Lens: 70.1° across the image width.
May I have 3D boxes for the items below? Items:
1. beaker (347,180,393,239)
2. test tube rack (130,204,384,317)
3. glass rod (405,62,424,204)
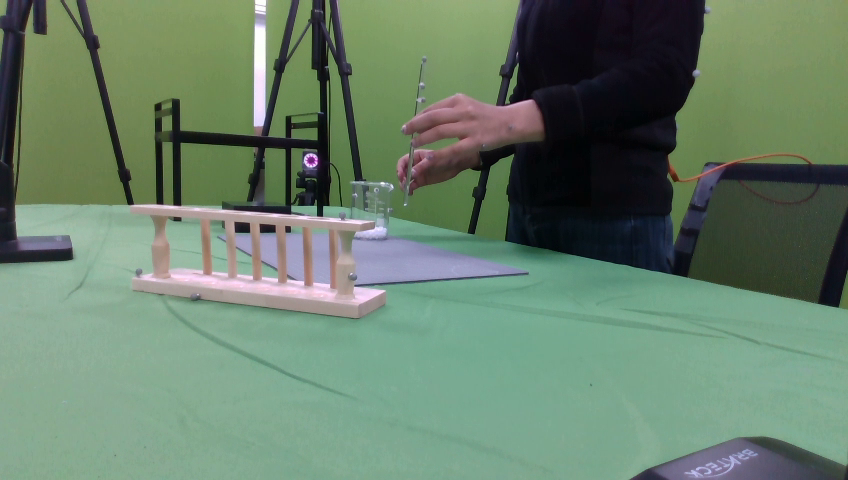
[{"bbox_3d":[-0.095,-0.054,1.064,0.084,0.100,0.074,6,9,21],"label":"beaker"},{"bbox_3d":[-0.163,0.013,0.589,0.242,0.085,0.067,5,8,17],"label":"test tube rack"},{"bbox_3d":[-0.014,-0.143,0.834,0.008,0.199,0.008,6,22,-2],"label":"glass rod"}]
